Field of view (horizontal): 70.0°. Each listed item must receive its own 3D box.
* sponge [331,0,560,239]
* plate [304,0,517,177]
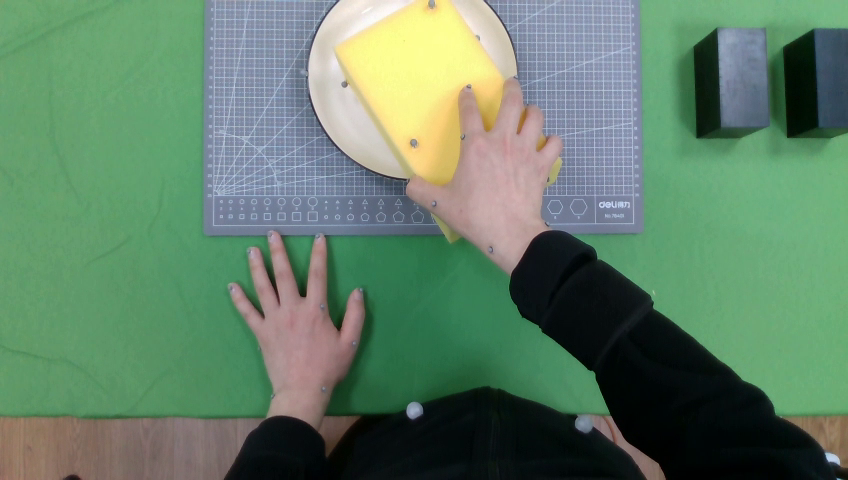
[{"bbox_3d":[0.018,-0.120,0.569,0.118,0.061,0.206,-32,78,-5],"label":"sponge"},{"bbox_3d":[-0.012,-0.163,0.608,0.209,0.038,0.209,0,88,-3],"label":"plate"}]
